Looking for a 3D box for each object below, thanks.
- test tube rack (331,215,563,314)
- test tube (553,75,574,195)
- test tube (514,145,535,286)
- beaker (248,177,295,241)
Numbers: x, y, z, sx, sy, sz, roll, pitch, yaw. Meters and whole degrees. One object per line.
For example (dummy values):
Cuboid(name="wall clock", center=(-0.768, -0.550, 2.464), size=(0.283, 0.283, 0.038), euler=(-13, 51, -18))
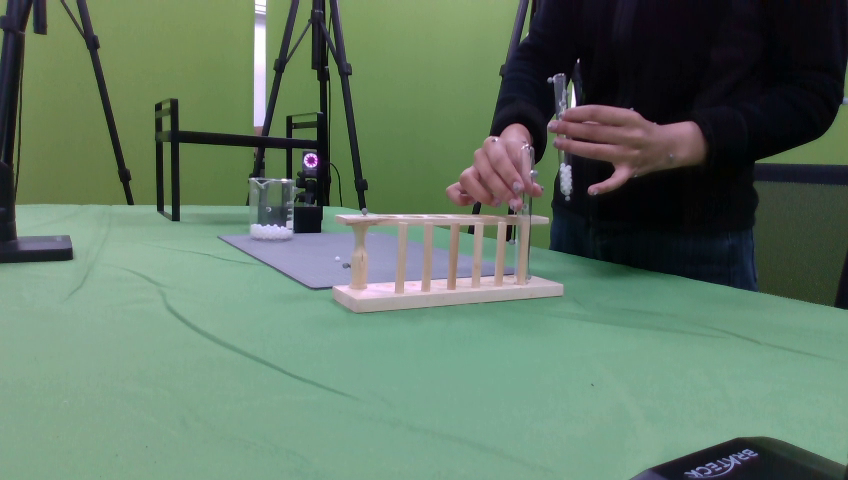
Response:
Cuboid(name="test tube rack", center=(0.031, 0.019, 0.625), size=(0.243, 0.085, 0.066), euler=(-1, 8, -28))
Cuboid(name="test tube", center=(0.171, -0.129, 0.742), size=(0.017, 0.150, 0.017), euler=(-3, -5, 0))
Cuboid(name="test tube", center=(0.106, -0.024, 0.641), size=(0.017, 0.150, 0.017), euler=(1, 7, 0))
Cuboid(name="beaker", center=(-0.252, -0.051, 0.992), size=(0.074, 0.100, 0.084), euler=(3, 9, 6))
